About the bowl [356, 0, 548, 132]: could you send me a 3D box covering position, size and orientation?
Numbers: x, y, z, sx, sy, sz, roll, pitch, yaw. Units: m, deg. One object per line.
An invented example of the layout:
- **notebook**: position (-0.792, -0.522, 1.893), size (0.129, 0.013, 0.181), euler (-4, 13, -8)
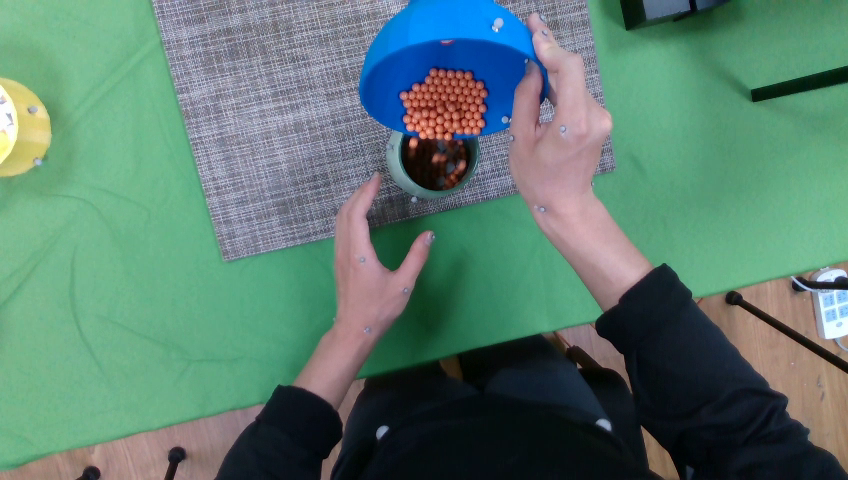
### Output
- **bowl**: position (0.021, -0.156, 0.488), size (0.151, 0.152, 0.076), euler (0, 74, -6)

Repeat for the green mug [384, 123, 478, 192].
- **green mug**: position (0.008, -0.111, 0.615), size (0.093, 0.104, 0.125), euler (3, 96, -6)

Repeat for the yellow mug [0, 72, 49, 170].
- **yellow mug**: position (-0.436, -0.102, 0.585), size (0.100, 0.064, 0.131), euler (19, 95, -9)
